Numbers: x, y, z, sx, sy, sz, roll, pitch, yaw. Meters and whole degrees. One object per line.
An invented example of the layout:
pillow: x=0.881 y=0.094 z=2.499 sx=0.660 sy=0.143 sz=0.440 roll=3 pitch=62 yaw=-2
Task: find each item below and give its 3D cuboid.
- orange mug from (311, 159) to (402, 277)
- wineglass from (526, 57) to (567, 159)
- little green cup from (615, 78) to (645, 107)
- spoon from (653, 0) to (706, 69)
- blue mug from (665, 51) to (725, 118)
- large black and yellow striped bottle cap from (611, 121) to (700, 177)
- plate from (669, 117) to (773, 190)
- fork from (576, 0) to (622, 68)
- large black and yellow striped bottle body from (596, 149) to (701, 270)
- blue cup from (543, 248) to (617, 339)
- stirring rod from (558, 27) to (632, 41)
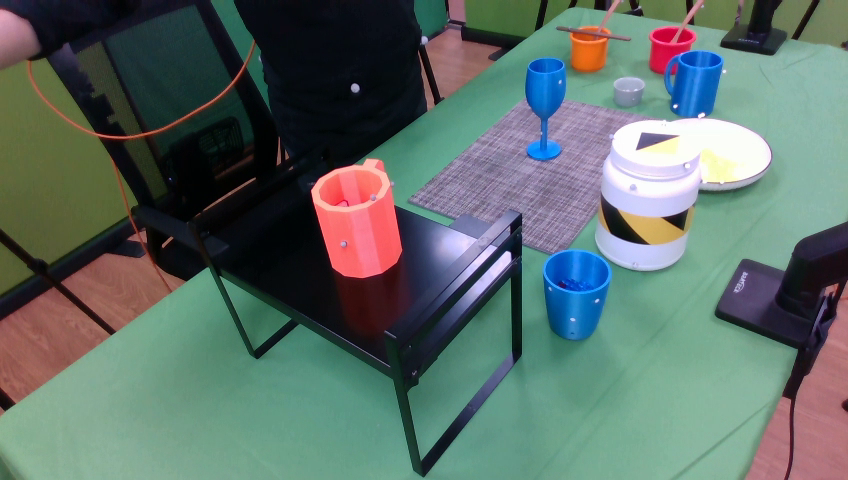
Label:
orange mug: x=-0.070 y=-0.034 z=0.694 sx=0.083 sy=0.101 sz=0.126 roll=5 pitch=46 yaw=16
wineglass: x=0.221 y=-0.237 z=1.097 sx=0.074 sy=0.173 sz=0.073 roll=-5 pitch=41 yaw=4
little green cup: x=0.426 y=-0.306 z=1.257 sx=0.061 sy=0.039 sz=0.061 roll=-5 pitch=40 yaw=4
spoon: x=0.570 y=-0.461 z=1.334 sx=0.041 sy=0.022 sz=0.193 roll=39 pitch=102 yaw=42
blue mug: x=0.526 y=-0.314 z=1.199 sx=0.082 sy=0.106 sz=0.115 roll=-27 pitch=44 yaw=-21
large black and yellow striped bottle cap: x=0.315 y=-0.126 z=0.823 sx=0.115 sy=0.019 sz=0.114 roll=-4 pitch=42 yaw=4
plate: x=0.495 y=-0.149 z=1.063 sx=0.209 sy=0.038 sz=0.208 roll=-5 pitch=40 yaw=4
fork: x=0.409 y=-0.484 z=1.381 sx=0.028 sy=0.019 sz=0.207 roll=37 pitch=101 yaw=46
large black and yellow striped bottle body: x=0.323 y=-0.062 z=0.877 sx=0.131 sy=0.185 sz=0.130 roll=-5 pitch=40 yaw=4
blue cup: x=0.199 y=0.076 z=0.797 sx=0.092 sy=0.100 sz=0.092 roll=-4 pitch=39 yaw=4
stirring rod: x=0.381 y=-0.463 z=1.356 sx=0.175 sy=0.006 sz=0.014 roll=21 pitch=48 yaw=30
